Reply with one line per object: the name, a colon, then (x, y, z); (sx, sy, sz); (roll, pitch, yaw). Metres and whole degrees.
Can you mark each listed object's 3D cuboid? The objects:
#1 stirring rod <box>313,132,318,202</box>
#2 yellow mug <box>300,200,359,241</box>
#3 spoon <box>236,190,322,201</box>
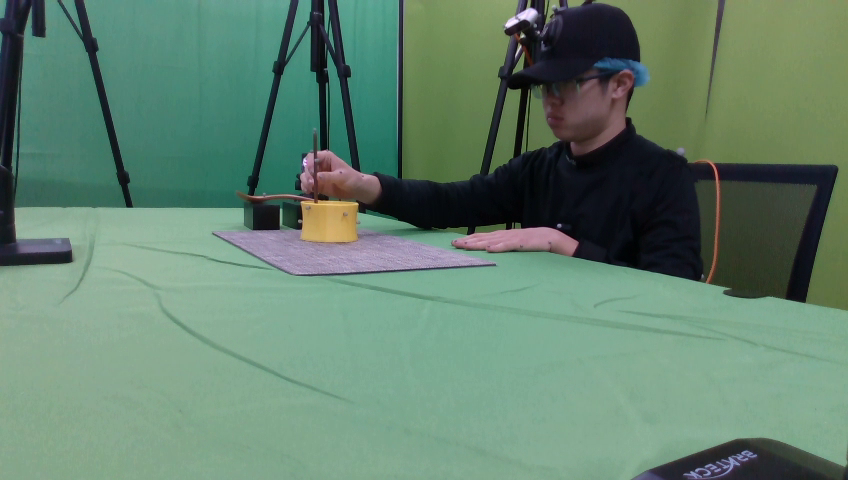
stirring rod: (-0.187, -0.098, 1.042); (0.006, 0.176, 0.014); (1, 8, -1)
yellow mug: (-0.156, -0.036, 1.059); (0.099, 0.064, 0.131); (5, 7, 28)
spoon: (-0.290, -0.088, 1.248); (0.195, 0.021, 0.041); (0, 6, -32)
